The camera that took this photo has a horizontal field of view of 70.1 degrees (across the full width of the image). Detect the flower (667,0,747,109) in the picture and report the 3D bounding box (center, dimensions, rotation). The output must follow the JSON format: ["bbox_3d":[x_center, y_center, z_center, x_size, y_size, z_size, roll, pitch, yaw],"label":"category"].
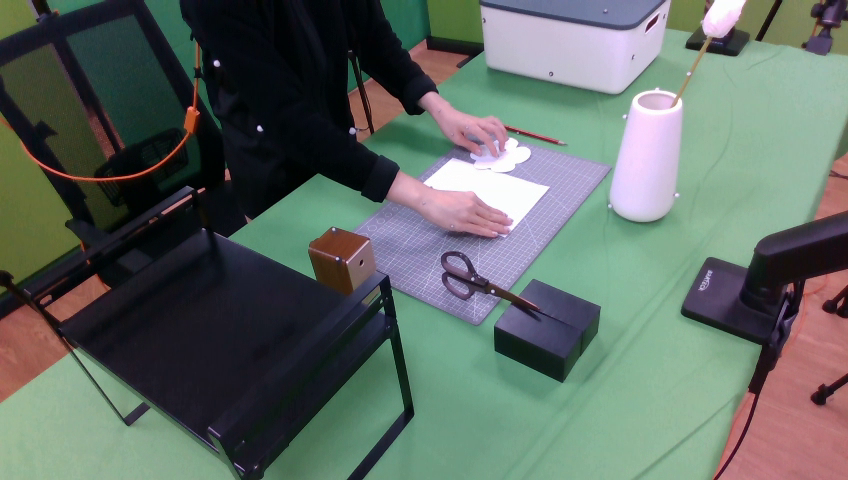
[{"bbox_3d":[0.354,-0.187,0.879,0.038,0.362,0.044,30,48,14],"label":"flower"}]

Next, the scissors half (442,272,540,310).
[{"bbox_3d":[0.089,0.075,0.832,0.013,0.040,0.173,-23,22,-39],"label":"scissors half"}]

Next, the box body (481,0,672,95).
[{"bbox_3d":[0.341,-0.480,1.381,0.361,0.161,0.255,22,48,30],"label":"box body"}]

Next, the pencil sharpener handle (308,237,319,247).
[{"bbox_3d":[-0.159,0.017,0.892,0.030,0.068,0.036,18,61,28],"label":"pencil sharpener handle"}]

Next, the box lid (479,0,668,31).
[{"bbox_3d":[0.335,-0.536,1.331,0.368,0.015,0.264,23,49,30],"label":"box lid"}]

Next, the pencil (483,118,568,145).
[{"bbox_3d":[0.202,-0.217,1.212,0.192,0.012,0.012,24,49,29],"label":"pencil"}]

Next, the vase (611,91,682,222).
[{"bbox_3d":[0.348,-0.125,0.935,0.098,0.201,0.097,-3,40,3],"label":"vase"}]

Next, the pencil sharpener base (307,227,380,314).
[{"bbox_3d":[-0.116,0.043,0.875,0.076,0.107,0.061,18,47,27],"label":"pencil sharpener base"}]

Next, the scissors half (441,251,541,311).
[{"bbox_3d":[0.087,0.056,0.824,0.013,0.040,0.173,-29,44,-36],"label":"scissors half"}]
